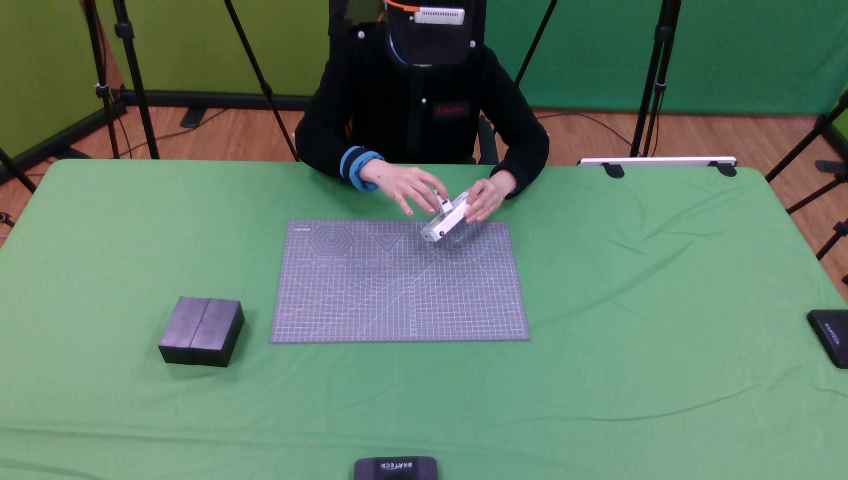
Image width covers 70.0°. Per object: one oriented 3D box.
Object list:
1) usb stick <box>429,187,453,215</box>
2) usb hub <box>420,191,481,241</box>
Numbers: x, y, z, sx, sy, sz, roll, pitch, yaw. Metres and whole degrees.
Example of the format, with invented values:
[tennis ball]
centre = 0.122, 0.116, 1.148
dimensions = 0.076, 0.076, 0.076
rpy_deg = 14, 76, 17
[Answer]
[usb stick]
centre = 0.035, -0.069, 1.135
dimensions = 0.021, 0.059, 0.027
rpy_deg = -36, 20, -21
[usb hub]
centre = 0.051, -0.047, 1.161
dimensions = 0.125, 0.025, 0.049
rpy_deg = -43, 22, -17
